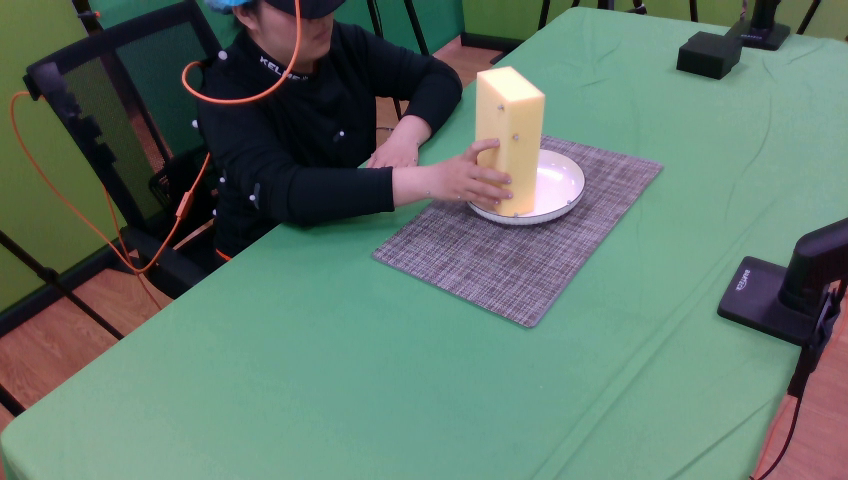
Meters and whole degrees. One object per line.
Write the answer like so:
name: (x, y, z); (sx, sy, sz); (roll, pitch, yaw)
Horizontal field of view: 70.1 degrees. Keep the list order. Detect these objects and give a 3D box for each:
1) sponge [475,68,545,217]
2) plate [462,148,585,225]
sponge: (0.135, -0.156, 0.980); (0.061, 0.207, 0.117); (-14, 38, -15)
plate: (0.170, -0.089, 1.041); (0.207, 0.039, 0.206); (-5, 40, 5)
